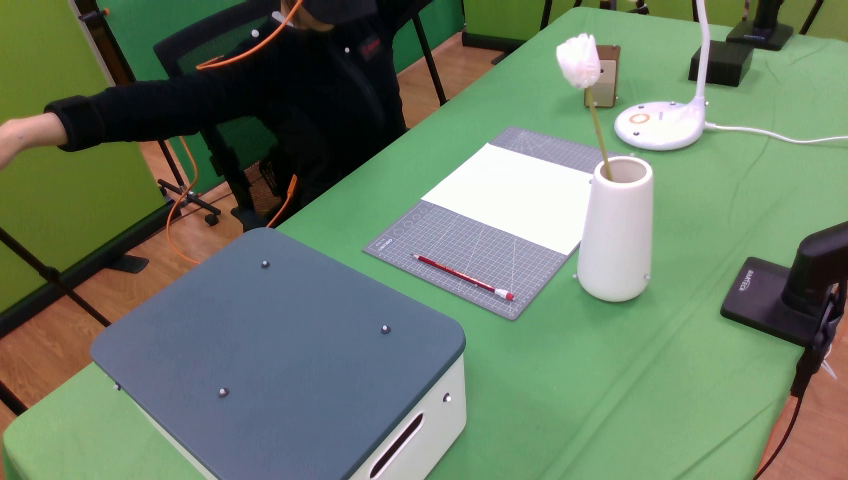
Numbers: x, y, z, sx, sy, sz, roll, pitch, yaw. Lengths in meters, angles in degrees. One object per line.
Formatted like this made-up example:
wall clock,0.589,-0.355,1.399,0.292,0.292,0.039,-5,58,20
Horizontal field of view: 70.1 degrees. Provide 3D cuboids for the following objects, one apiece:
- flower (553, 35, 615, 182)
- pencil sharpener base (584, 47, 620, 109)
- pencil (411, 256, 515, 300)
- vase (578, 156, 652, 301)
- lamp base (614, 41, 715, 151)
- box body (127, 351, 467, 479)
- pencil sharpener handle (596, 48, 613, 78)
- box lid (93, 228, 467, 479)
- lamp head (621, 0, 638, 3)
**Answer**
flower,0.237,-0.083,0.774,0.044,0.363,0.038,-23,26,6
pencil sharpener base,0.367,-0.336,1.248,0.061,0.107,0.076,6,42,19
pencil,0.054,0.054,0.918,0.192,0.012,0.012,21,48,33
vase,0.261,-0.011,0.812,0.098,0.201,0.097,-4,40,4
lamp base,0.449,-0.277,1.106,0.179,0.181,0.160,1,41,9
box body,-0.155,0.169,0.707,0.361,0.161,0.255,23,49,33
pencil sharpener handle,0.383,-0.378,1.276,0.036,0.068,0.030,3,41,22
box lid,-0.167,0.110,0.661,0.368,0.015,0.264,23,49,34
lamp head,0.319,-0.453,0.962,0.113,0.123,0.112,20,33,-13
